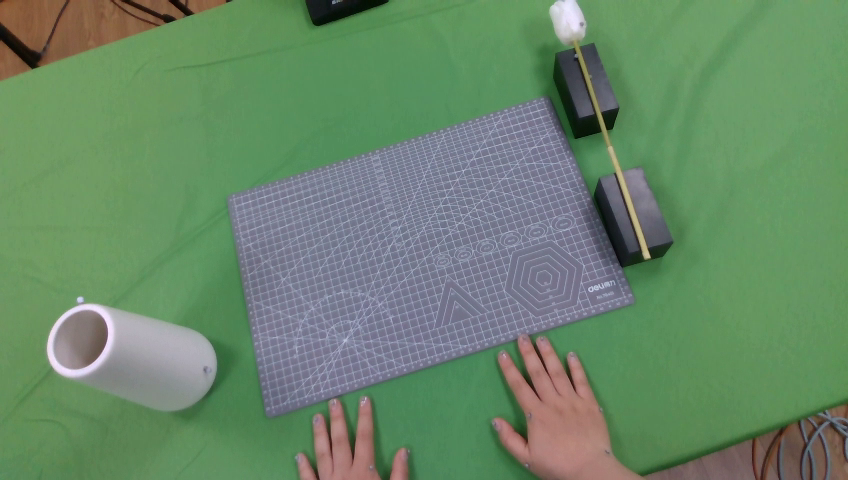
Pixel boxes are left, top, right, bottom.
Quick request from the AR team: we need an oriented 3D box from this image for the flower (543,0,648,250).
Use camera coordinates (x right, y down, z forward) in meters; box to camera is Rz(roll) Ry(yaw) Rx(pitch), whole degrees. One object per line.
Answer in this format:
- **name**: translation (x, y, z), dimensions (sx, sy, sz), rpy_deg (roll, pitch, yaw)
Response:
- **flower**: translation (0.206, -0.151, 0.725), dimensions (0.044, 0.038, 0.358), rpy_deg (1, 64, -25)

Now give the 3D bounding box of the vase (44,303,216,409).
- **vase**: translation (-0.304, 0.124, 0.647), dimensions (0.098, 0.201, 0.097), rpy_deg (-2, 69, 6)
